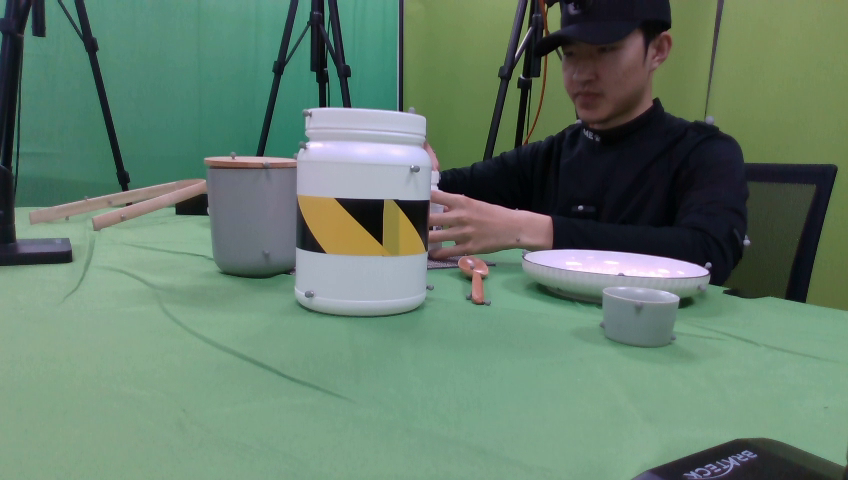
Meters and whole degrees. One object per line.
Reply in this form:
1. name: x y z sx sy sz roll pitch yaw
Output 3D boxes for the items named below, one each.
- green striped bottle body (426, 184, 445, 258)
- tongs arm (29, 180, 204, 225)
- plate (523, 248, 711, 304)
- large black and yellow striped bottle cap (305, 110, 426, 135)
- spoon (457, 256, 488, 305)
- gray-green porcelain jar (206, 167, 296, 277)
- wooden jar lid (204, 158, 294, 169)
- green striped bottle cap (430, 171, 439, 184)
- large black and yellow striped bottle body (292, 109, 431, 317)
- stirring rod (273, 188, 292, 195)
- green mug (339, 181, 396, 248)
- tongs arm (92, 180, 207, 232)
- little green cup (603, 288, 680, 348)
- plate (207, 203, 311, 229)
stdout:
1. green striped bottle body: -0.002 -0.037 0.902 0.063 0.119 0.063 3 7 0
2. tongs arm: -0.609 -0.083 1.245 0.050 0.026 0.386 5 16 23
3. plate: 0.219 0.042 0.706 0.209 0.038 0.209 2 7 0
4. large black and yellow striped bottle cap: -0.055 -0.110 0.574 0.115 0.019 0.115 1 7 0
5. spoon: 0.059 0.044 0.696 0.041 0.021 0.193 22 7 0
6. gray-green porcelain jar: -0.201 -0.024 0.724 0.106 0.126 0.106 -1 9 1
7. wooden jar lid: -0.203 -0.086 0.714 0.108 0.020 0.108 3 11 0
8. green striped bottle cap: 0.001 -0.092 0.896 0.044 0.020 0.044 3 10 0
9. large black and yellow striped bottle body: -0.060 -0.028 0.584 0.131 0.184 0.130 3 7 0
10. stirring rod: -0.353 -0.122 1.519 0.006 0.014 0.176 1 7 1
11. green mug: -0.097 -0.044 0.995 0.093 0.105 0.125 -2 7 -20
12. tongs arm: -0.534 -0.076 1.221 0.028 0.028 0.388 -2 15 12
13. little green cup: 0.180 0.064 0.505 0.061 0.038 0.061 2 8 0
14. plate: -0.342 -0.050 1.259 0.208 0.039 0.207 3 7 0
